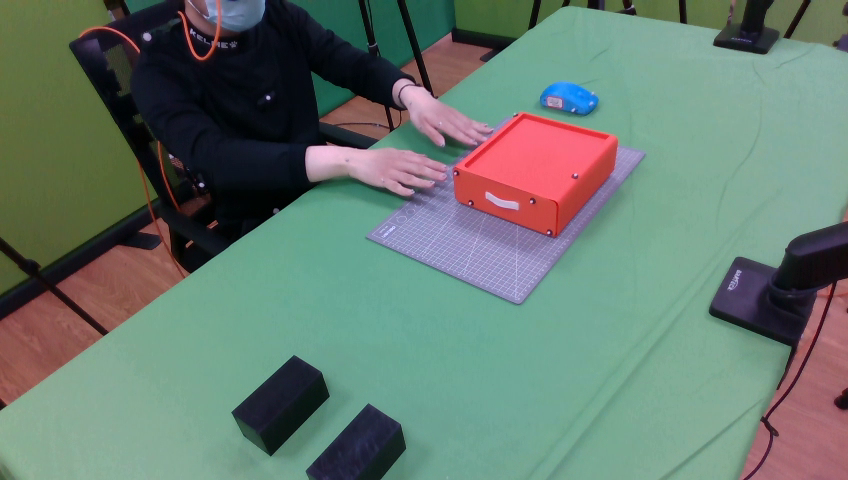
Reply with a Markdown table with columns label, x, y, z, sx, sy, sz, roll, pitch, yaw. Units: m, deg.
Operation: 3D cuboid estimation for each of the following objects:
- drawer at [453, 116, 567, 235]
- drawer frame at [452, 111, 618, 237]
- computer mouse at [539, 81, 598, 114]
| label | x | y | z | sx | sy | sz | roll | pitch | yaw |
| --- | --- | --- | --- | --- | --- | --- | --- | --- | --- |
| drawer | 0.188 | -0.119 | 1.030 | 0.193 | 0.073 | 0.212 | 23 | 48 | 31 |
| drawer frame | 0.190 | -0.120 | 1.030 | 0.200 | 0.083 | 0.214 | 22 | 48 | 31 |
| computer mouse | 0.302 | -0.300 | 1.262 | 0.116 | 0.041 | 0.063 | 26 | 49 | 27 |
